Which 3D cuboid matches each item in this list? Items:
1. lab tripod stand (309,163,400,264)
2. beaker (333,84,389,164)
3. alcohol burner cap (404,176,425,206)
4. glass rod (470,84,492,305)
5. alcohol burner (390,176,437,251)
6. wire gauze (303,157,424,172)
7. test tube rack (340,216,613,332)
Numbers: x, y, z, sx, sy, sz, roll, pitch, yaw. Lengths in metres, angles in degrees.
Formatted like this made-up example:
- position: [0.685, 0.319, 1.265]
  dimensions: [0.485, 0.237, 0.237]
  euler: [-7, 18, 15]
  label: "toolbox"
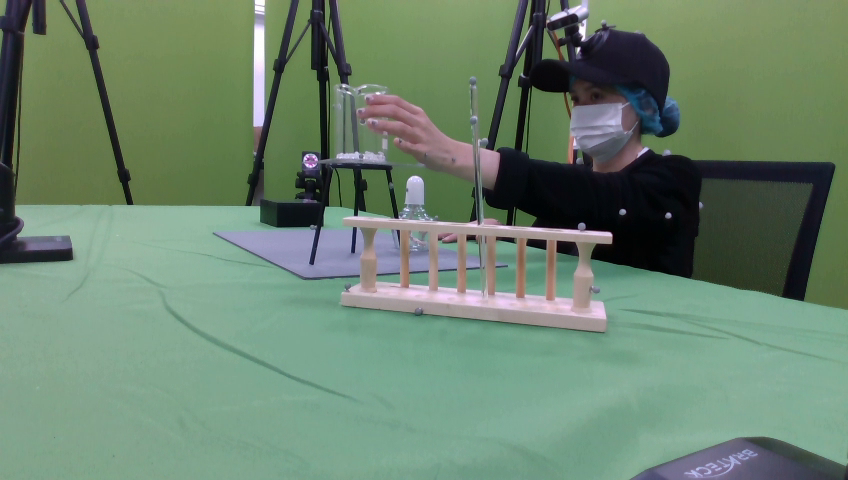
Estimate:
- position: [-0.091, -0.037, 0.813]
  dimensions: [0.148, 0.131, 0.148]
  euler: [1, 6, 0]
  label: "lab tripod stand"
- position: [-0.083, -0.149, 0.792]
  dimensions: [0.074, 0.100, 0.084]
  euler: [1, 6, 3]
  label: "beaker"
- position: [-0.015, -0.077, 0.951]
  dimensions: [0.034, 0.048, 0.034]
  euler: [2, 4, 0]
  label: "alcohol burner cap"
- position: [0.051, -0.036, 0.535]
  dimensions: [0.008, 0.199, 0.008]
  euler: [-5, 10, 1]
  label: "glass rod"
- position: [-0.016, -0.042, 0.955]
  dimensions: [0.078, 0.119, 0.078]
  euler: [4, 5, 0]
  label: "alcohol burner"
- position: [-0.082, -0.101, 0.799]
  dimensions: [0.126, 0.011, 0.121]
  euler: [1, 7, -30]
  label: "wire gauze"
- position: [0.047, 0.026, 0.568]
  dimensions: [0.242, 0.085, 0.067]
  euler: [4, 8, 13]
  label: "test tube rack"
